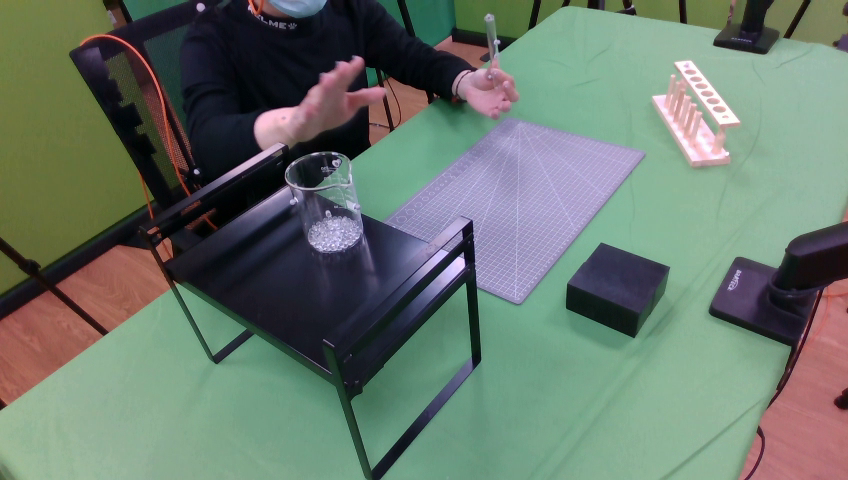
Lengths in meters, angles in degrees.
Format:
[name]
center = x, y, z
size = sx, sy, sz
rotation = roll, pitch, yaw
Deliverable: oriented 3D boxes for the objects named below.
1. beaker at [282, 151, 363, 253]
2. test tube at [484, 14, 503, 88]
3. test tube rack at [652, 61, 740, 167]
[beaker]
center = -0.110, -0.041, 0.698
size = 0.083, 0.101, 0.074
rotation = 18, 47, 26
[test tube]
center = 0.120, -0.318, 1.033
size = 0.017, 0.151, 0.017
rotation = -7, 55, 10
[test tube rack]
center = 0.499, -0.242, 1.130
size = 0.067, 0.085, 0.241
rotation = -5, 41, 3
